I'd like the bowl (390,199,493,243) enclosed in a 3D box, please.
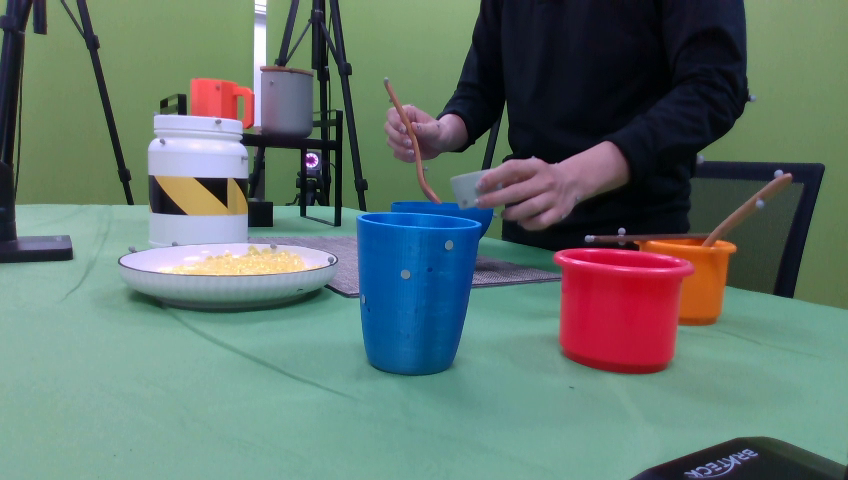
[{"bbox_3d":[0.023,-0.016,0.874,0.151,0.077,0.151,3,7,0],"label":"bowl"}]

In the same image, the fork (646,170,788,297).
[{"bbox_3d":[0.256,0.004,0.543,0.028,0.018,0.207,3,-36,-9],"label":"fork"}]

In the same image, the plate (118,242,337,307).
[{"bbox_3d":[-0.194,0.033,0.615,0.209,0.038,0.209,2,7,0],"label":"plate"}]

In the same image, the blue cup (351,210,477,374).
[{"bbox_3d":[-0.009,0.034,0.414,0.093,0.100,0.092,4,8,0],"label":"blue cup"}]

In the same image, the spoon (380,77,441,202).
[{"bbox_3d":[-0.018,-0.142,0.865,0.021,0.194,0.041,-19,11,9],"label":"spoon"}]

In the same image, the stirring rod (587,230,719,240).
[{"bbox_3d":[0.226,-0.005,0.587,0.177,0.006,0.014,-2,9,-29],"label":"stirring rod"}]

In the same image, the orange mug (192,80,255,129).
[{"bbox_3d":[-0.389,-0.257,1.172,0.126,0.100,0.083,-1,6,9],"label":"orange mug"}]

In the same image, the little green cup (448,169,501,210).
[{"bbox_3d":[0.062,-0.059,0.709,0.061,0.038,0.061,-11,5,1],"label":"little green cup"}]

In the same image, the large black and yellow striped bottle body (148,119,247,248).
[{"bbox_3d":[-0.318,-0.076,0.855,0.131,0.184,0.130,2,7,0],"label":"large black and yellow striped bottle body"}]

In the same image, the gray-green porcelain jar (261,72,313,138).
[{"bbox_3d":[-0.284,-0.276,1.253,0.106,0.126,0.106,2,8,0],"label":"gray-green porcelain jar"}]

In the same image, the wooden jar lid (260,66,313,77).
[{"bbox_3d":[-0.283,-0.339,1.244,0.108,0.020,0.108,6,8,-1],"label":"wooden jar lid"}]

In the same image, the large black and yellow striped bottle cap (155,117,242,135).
[{"bbox_3d":[-0.313,-0.159,0.845,0.115,0.019,0.115,3,9,0],"label":"large black and yellow striped bottle cap"}]
